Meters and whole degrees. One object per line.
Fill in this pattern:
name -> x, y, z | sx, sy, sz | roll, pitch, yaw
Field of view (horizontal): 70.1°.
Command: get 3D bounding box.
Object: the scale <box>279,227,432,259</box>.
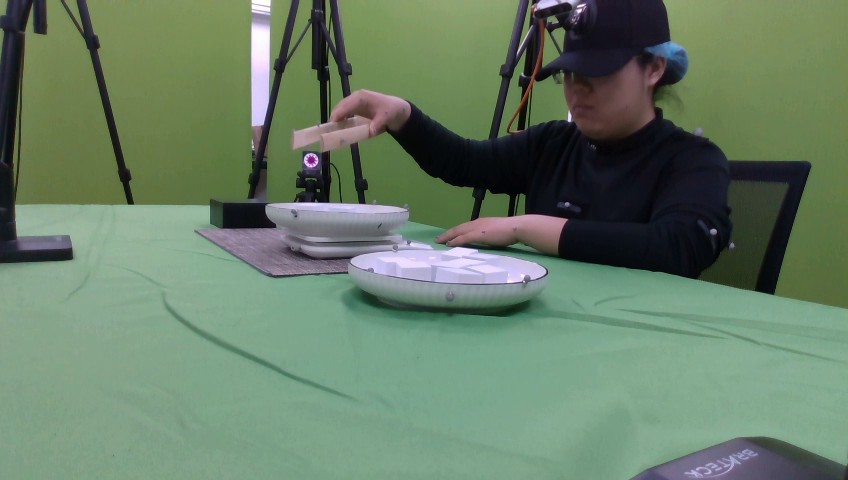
scale -> -0.100, 0.001, 0.899 | 0.202, 0.031, 0.148 | -1, 9, -31

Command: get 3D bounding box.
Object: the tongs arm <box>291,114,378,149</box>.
tongs arm -> -0.138, -0.187, 1.019 | 0.051, 0.026, 0.385 | 4, 16, 6

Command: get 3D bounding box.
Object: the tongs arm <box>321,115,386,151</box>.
tongs arm -> -0.110, -0.185, 1.015 | 0.028, 0.028, 0.388 | 1, 15, 9

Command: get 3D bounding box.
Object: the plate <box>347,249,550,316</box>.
plate -> 0.025, 0.042, 0.627 | 0.209, 0.038, 0.209 | 2, 7, 0

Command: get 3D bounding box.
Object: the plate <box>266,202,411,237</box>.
plate -> -0.123, -0.030, 0.879 | 0.208, 0.039, 0.207 | 2, 6, 0
